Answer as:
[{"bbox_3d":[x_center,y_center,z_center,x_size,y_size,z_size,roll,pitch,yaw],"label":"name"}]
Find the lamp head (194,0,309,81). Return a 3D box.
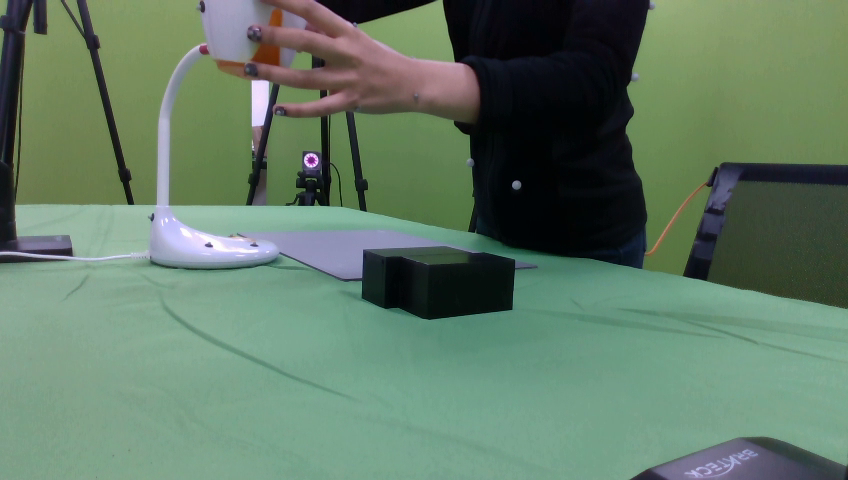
[{"bbox_3d":[-0.166,-0.214,0.572,0.112,0.123,0.112,9,8,-1],"label":"lamp head"}]

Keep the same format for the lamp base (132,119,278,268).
[{"bbox_3d":[-0.279,-0.061,0.770,0.160,0.180,0.180,9,13,44],"label":"lamp base"}]

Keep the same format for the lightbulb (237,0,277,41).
[{"bbox_3d":[-0.154,-0.241,0.569,0.059,0.107,0.059,11,0,0],"label":"lightbulb"}]
